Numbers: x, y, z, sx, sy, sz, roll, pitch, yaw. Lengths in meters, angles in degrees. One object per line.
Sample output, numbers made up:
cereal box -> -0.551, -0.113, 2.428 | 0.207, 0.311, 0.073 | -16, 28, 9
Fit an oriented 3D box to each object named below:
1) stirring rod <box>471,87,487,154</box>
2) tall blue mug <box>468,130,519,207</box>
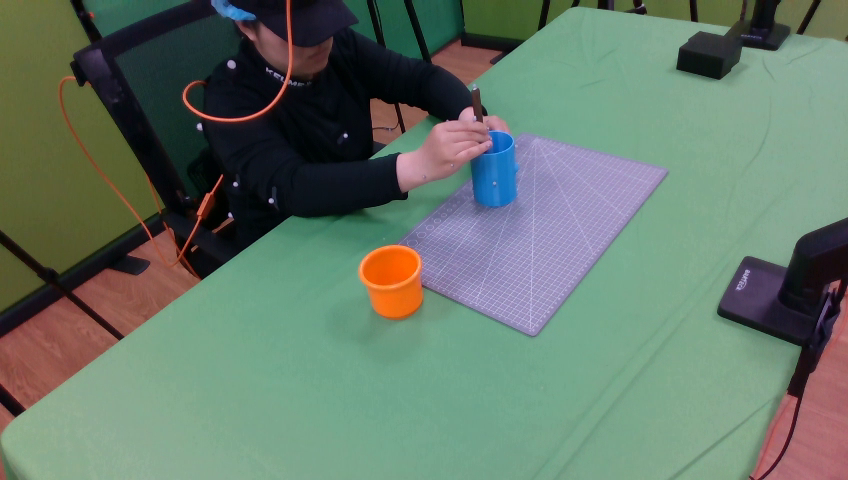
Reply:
stirring rod -> 0.091, -0.164, 0.966 | 0.014, 0.177, 0.005 | -29, 45, -17
tall blue mug -> 0.114, -0.131, 1.045 | 0.078, 0.108, 0.106 | -20, 41, -10
